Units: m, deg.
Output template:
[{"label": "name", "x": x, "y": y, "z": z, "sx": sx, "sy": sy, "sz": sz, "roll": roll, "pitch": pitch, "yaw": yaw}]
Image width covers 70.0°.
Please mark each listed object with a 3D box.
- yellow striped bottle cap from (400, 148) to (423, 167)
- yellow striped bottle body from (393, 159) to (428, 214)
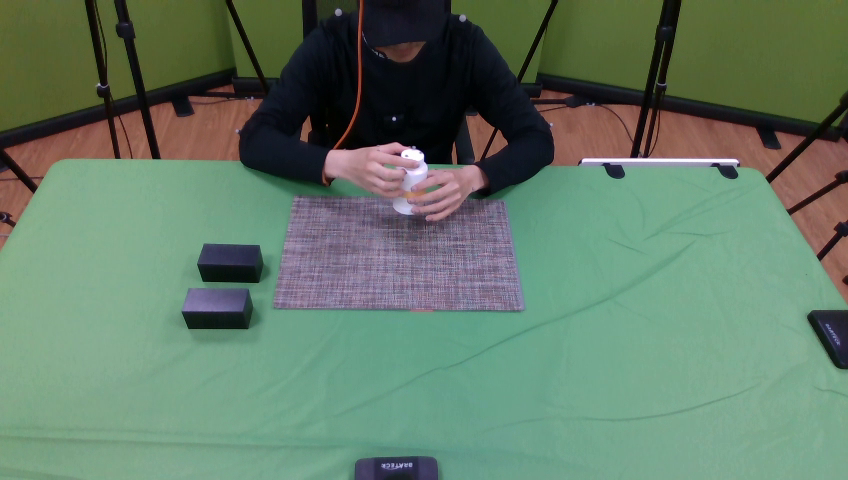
[{"label": "yellow striped bottle cap", "x": -0.023, "y": -0.156, "z": 1.139, "sx": 0.044, "sy": 0.019, "sz": 0.044, "roll": 2, "pitch": 38, "yaw": -1}, {"label": "yellow striped bottle body", "x": -0.026, "y": -0.116, "z": 1.172, "sx": 0.063, "sy": 0.121, "sz": 0.062, "roll": 4, "pitch": 38, "yaw": -3}]
